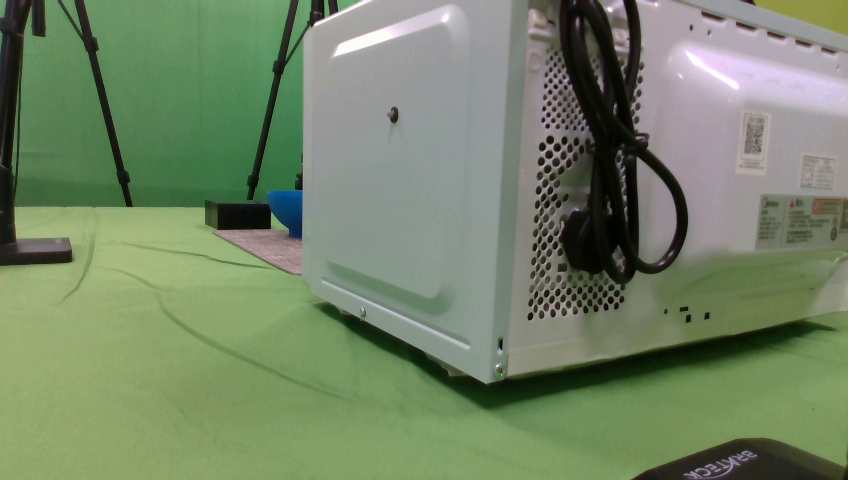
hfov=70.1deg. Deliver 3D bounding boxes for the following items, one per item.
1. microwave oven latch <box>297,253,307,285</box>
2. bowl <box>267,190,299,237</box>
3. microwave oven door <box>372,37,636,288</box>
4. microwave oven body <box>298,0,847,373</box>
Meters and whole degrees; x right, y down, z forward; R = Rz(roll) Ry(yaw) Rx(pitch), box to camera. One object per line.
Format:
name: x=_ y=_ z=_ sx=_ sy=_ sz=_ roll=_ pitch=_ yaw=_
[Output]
microwave oven latch: x=-0.082 y=0.027 z=0.582 sx=0.079 sy=0.029 sz=0.030 roll=-1 pitch=7 yaw=-32
bowl: x=-0.202 y=-0.046 z=1.070 sx=0.151 sy=0.077 sz=0.151 roll=3 pitch=7 yaw=0
microwave oven door: x=0.110 y=-0.080 z=0.686 sx=0.358 sy=0.243 sz=0.039 roll=-2 pitch=9 yaw=-33
microwave oven body: x=0.151 y=-0.055 z=0.543 sx=0.444 sy=0.260 sz=0.324 roll=-1 pitch=8 yaw=-33
